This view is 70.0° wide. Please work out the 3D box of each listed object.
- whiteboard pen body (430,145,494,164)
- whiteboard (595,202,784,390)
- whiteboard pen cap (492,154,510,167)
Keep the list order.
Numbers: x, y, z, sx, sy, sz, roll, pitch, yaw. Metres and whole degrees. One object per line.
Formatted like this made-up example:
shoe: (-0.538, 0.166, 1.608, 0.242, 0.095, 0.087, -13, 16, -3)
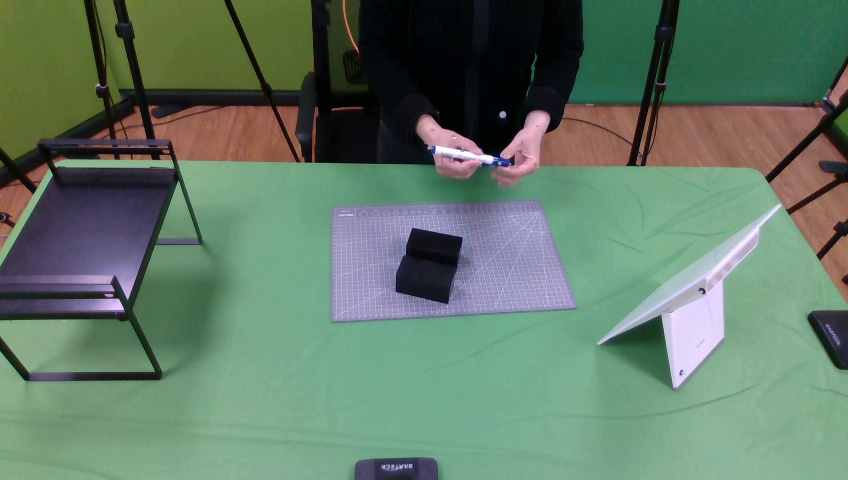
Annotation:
whiteboard pen body: (0.079, -0.152, 1.085, 0.141, 0.017, 0.017, 8, 45, -14)
whiteboard: (0.459, 0.112, 0.968, 0.217, 0.306, 0.143, -31, 75, -29)
whiteboard pen cap: (0.138, -0.145, 1.101, 0.033, 0.018, 0.018, 12, 44, -14)
